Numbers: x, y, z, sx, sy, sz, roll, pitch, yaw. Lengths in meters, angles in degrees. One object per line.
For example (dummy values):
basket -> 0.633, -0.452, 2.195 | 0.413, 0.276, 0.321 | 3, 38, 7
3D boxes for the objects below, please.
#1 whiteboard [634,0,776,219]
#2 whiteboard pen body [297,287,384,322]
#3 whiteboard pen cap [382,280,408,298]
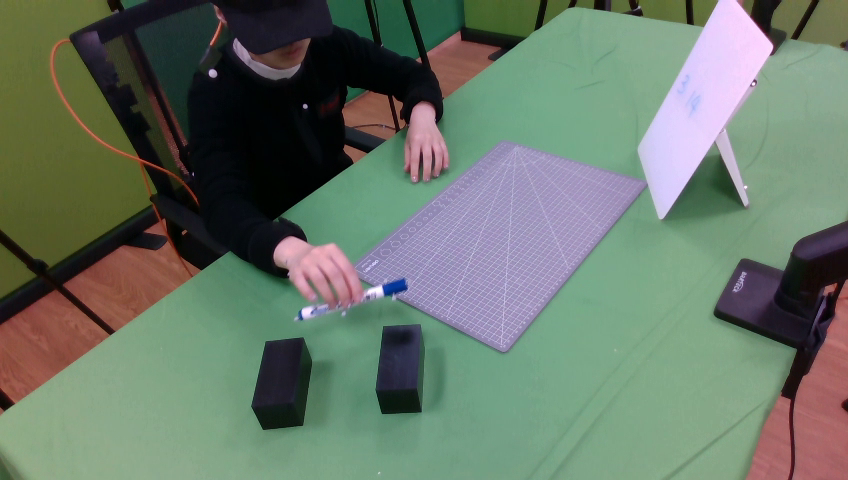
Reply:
whiteboard -> 0.485, -0.192, 0.956 | 0.144, 0.305, 0.216 | 14, 41, -5
whiteboard pen body -> -0.095, 0.080, 0.775 | 0.141, 0.017, 0.017 | -17, 41, 1
whiteboard pen cap -> -0.038, 0.064, 0.774 | 0.033, 0.018, 0.018 | -17, 40, 3
